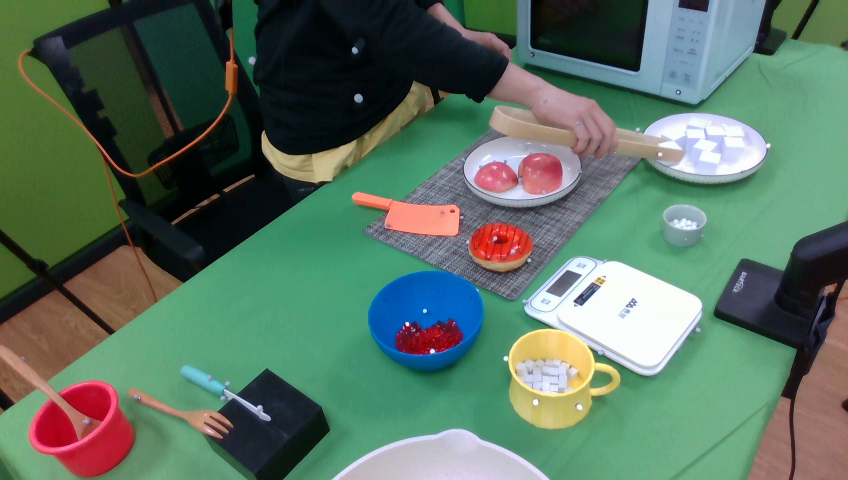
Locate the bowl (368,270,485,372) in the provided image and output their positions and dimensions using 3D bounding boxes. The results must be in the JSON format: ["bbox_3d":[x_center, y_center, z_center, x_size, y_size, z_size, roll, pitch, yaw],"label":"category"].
[{"bbox_3d":[0.007,0.118,0.791,0.151,0.077,0.150,-4,40,4],"label":"bowl"}]

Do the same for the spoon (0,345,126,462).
[{"bbox_3d":[-0.434,0.192,0.720,0.194,0.021,0.042,47,53,-6],"label":"spoon"}]

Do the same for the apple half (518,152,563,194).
[{"bbox_3d":[0.203,-0.123,1.047,0.075,0.053,0.080,-2,41,1],"label":"apple half"}]

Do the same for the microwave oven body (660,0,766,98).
[{"bbox_3d":[0.472,-0.513,1.317,0.438,0.261,0.327,26,51,34],"label":"microwave oven body"}]

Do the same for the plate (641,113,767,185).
[{"bbox_3d":[0.489,-0.157,1.074,0.207,0.039,0.206,-4,40,4],"label":"plate"}]

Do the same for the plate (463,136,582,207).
[{"bbox_3d":[0.173,-0.119,1.070,0.209,0.038,0.208,-4,40,4],"label":"plate"}]

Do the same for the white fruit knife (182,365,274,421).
[{"bbox_3d":[-0.245,0.187,0.747,0.205,0.027,0.016,9,41,41],"label":"white fruit knife"}]

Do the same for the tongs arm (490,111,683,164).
[{"bbox_3d":[0.273,-0.155,0.953,0.391,0.028,0.028,4,37,-29],"label":"tongs arm"}]

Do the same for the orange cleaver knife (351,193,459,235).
[{"bbox_3d":[-0.036,-0.044,1.028,0.210,0.012,0.077,10,48,18],"label":"orange cleaver knife"}]

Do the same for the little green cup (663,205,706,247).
[{"bbox_3d":[0.396,-0.020,0.926,0.061,0.039,0.061,-4,40,4],"label":"little green cup"}]

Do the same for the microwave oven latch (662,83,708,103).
[{"bbox_3d":[0.518,-0.296,1.204,0.078,0.029,0.030,28,52,35],"label":"microwave oven latch"}]

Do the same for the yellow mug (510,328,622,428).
[{"bbox_3d":[0.169,0.164,0.721,0.130,0.064,0.099,0,40,8],"label":"yellow mug"}]

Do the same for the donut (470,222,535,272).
[{"bbox_3d":[0.119,0.009,0.923,0.099,0.048,0.098,-4,38,4],"label":"donut"}]

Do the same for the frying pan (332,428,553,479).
[{"bbox_3d":[-0.089,0.306,0.564,0.487,0.103,0.306,10,41,7],"label":"frying pan"}]

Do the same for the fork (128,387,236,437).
[{"bbox_3d":[-0.305,0.207,0.744,0.206,0.019,0.028,3,41,36],"label":"fork"}]

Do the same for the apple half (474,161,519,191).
[{"bbox_3d":[0.130,-0.119,1.067,0.081,0.033,0.081,-3,36,3],"label":"apple half"}]

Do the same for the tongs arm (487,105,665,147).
[{"bbox_3d":[0.262,-0.172,0.974,0.388,0.026,0.050,5,33,-27],"label":"tongs arm"}]

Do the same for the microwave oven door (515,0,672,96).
[{"bbox_3d":[0.343,-0.455,1.259,0.353,0.245,0.039,26,51,33],"label":"microwave oven door"}]

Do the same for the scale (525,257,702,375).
[{"bbox_3d":[0.254,0.091,0.821,0.199,0.032,0.149,28,51,35],"label":"scale"}]
